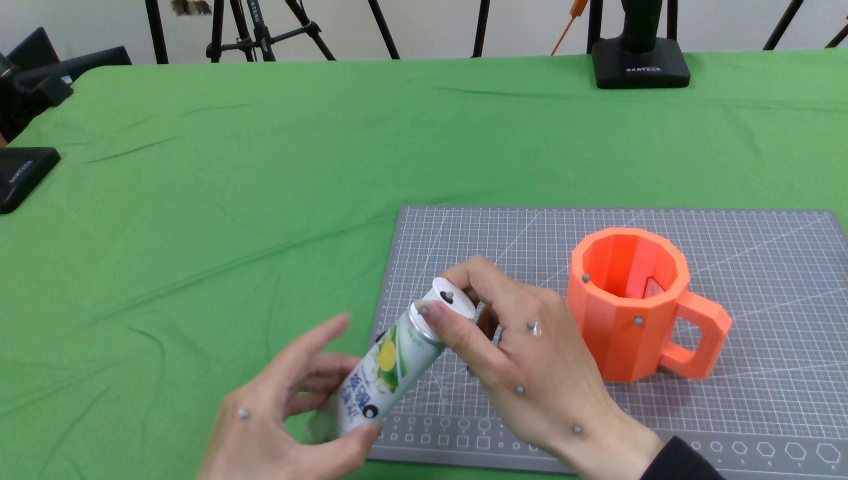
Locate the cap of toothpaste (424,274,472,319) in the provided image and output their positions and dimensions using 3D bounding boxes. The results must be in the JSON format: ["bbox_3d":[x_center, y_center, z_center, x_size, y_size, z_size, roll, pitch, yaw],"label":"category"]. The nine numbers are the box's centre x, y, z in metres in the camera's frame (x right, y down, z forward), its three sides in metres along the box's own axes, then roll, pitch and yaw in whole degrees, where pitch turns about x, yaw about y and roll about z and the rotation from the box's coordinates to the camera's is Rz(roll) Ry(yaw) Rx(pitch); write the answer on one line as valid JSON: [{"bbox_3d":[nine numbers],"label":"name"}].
[{"bbox_3d":[0.014,0.037,0.380,0.011,0.038,0.037,-49,43,19],"label":"cap of toothpaste"}]

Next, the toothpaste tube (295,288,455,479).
[{"bbox_3d":[-0.035,0.093,0.405,0.165,0.035,0.054,-51,42,17],"label":"toothpaste tube"}]

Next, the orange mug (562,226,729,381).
[{"bbox_3d":[0.172,0.058,0.484,0.125,0.102,0.083,23,51,33],"label":"orange mug"}]
